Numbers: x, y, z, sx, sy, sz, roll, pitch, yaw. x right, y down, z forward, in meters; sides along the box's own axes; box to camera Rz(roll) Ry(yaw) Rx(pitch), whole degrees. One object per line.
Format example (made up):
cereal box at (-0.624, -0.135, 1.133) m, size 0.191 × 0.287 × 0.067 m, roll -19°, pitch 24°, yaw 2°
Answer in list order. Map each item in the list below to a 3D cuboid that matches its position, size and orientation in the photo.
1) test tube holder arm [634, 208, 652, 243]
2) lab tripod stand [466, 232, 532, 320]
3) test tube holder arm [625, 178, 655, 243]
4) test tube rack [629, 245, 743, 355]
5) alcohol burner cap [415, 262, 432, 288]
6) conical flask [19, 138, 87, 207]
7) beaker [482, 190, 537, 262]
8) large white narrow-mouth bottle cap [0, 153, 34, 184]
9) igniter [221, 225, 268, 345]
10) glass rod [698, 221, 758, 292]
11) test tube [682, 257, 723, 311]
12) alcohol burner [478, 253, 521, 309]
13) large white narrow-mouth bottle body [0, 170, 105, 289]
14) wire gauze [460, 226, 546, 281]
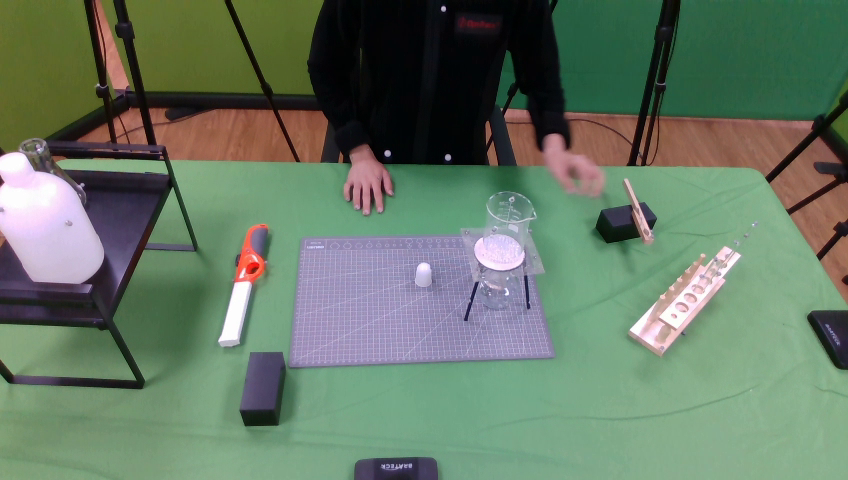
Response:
test tube holder arm at (0.428, -0.030, 1.189) m, size 0.010 × 0.015 × 0.087 m, roll 2°, pitch 47°, yaw -2°
lab tripod stand at (0.125, 0.059, 1.065) m, size 0.148 × 0.132 × 0.147 m, roll 1°, pitch 45°, yaw 0°
test tube holder arm at (0.433, -0.062, 1.220) m, size 0.013 × 0.015 × 0.177 m, roll 2°, pitch 47°, yaw -3°
test tube rack at (0.474, 0.095, 1.091) m, size 0.242 × 0.085 × 0.066 m, roll -34°, pitch 56°, yaw -31°
alcohol burner cap at (0.000, 0.061, 1.119) m, size 0.034 × 0.048 × 0.033 m, roll 3°, pitch 43°, yaw -3°
conical flask at (-0.576, -0.097, 0.930) m, size 0.075 × 0.122 × 0.075 m, roll 2°, pitch 46°, yaw -2°
beaker at (0.136, -0.019, 0.983) m, size 0.084 × 0.101 × 0.073 m, roll 17°, pitch 47°, yaw 14°
large white narrow-mouth bottle cap at (-0.510, -0.089, 0.755) m, size 0.038 × 0.024 × 0.037 m, roll 2°, pitch 46°, yaw -2°
igniter at (-0.323, 0.072, 1.100) m, size 0.057 × 0.025 × 0.274 m, roll -6°, pitch 45°, yaw 5°
glass rod at (0.527, 0.035, 1.060) m, size 0.008 × 0.200 × 0.008 m, roll 5°, pitch 49°, yaw -6°
test tube at (0.475, 0.080, 1.037) m, size 0.017 × 0.151 × 0.017 m, roll 1°, pitch 50°, yaw -1°
alcohol burner at (0.134, 0.067, 1.073) m, size 0.078 × 0.120 × 0.077 m, roll 0°, pitch 47°, yaw 0°
large white narrow-mouth bottle body at (-0.513, -0.029, 0.818) m, size 0.102 × 0.195 × 0.101 m, roll 2°, pitch 46°, yaw -2°
wire gauze at (0.130, 0.017, 1.016) m, size 0.121 × 0.011 × 0.124 m, roll -4°, pitch 42°, yaw -9°
